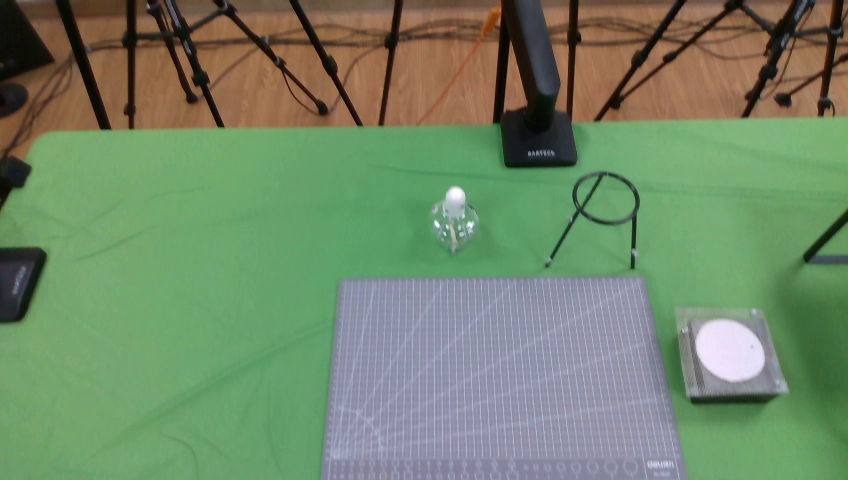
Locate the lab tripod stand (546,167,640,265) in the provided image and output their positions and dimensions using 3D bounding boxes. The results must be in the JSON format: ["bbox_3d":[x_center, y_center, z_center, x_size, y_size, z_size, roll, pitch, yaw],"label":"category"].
[{"bbox_3d":[0.250,-0.029,0.867,0.148,0.132,0.147,1,57,-1],"label":"lab tripod stand"}]

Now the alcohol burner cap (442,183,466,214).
[{"bbox_3d":[0.044,-0.061,0.859,0.034,0.048,0.033,1,64,-2],"label":"alcohol burner cap"}]

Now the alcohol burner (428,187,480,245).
[{"bbox_3d":[0.045,-0.044,0.889,0.078,0.120,0.077,1,59,-1],"label":"alcohol burner"}]

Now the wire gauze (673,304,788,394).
[{"bbox_3d":[0.389,0.139,0.778,0.121,0.011,0.124,1,57,4],"label":"wire gauze"}]
